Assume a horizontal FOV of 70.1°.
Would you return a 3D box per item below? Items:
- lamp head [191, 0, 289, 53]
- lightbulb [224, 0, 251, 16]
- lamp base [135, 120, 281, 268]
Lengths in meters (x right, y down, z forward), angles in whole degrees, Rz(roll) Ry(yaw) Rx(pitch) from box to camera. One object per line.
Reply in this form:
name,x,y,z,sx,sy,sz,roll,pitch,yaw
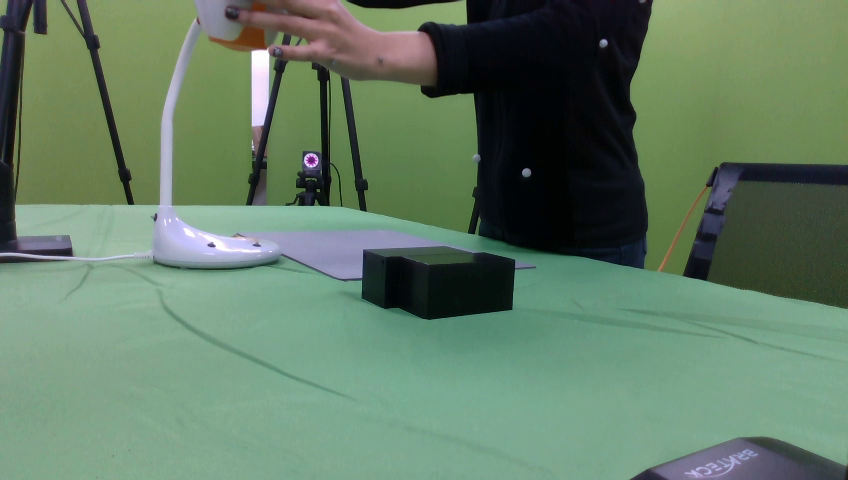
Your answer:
lamp head,-0.188,-0.254,0.608,0.112,0.123,0.112,10,20,-3
lightbulb,-0.178,-0.278,0.599,0.059,0.107,0.059,13,10,-2
lamp base,-0.276,-0.061,0.773,0.180,0.180,0.160,-9,13,-44
